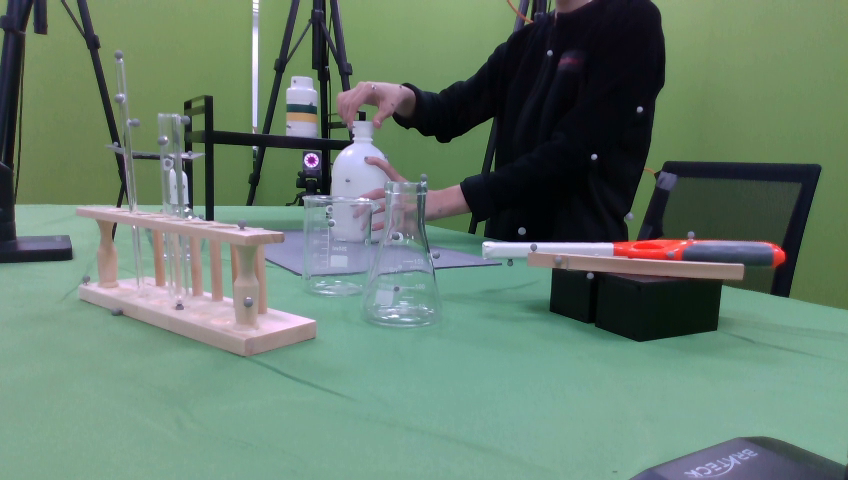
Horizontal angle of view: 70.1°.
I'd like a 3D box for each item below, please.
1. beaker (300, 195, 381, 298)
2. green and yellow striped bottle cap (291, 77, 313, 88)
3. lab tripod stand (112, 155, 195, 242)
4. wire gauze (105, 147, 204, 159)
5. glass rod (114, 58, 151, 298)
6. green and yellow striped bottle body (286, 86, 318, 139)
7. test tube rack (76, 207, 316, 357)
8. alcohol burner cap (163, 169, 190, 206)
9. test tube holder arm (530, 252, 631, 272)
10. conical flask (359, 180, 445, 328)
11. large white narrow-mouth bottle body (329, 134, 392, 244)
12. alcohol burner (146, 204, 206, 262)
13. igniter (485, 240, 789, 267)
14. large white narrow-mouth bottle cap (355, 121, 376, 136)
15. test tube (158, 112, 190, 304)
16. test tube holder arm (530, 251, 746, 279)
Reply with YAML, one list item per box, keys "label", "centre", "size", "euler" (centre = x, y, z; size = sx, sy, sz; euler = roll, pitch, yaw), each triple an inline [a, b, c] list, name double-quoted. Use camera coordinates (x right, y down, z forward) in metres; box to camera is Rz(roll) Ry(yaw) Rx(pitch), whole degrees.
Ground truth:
- label: "beaker"
  centre: [-0.087, 0.006, 0.626]
  size: [0.084, 0.100, 0.074]
  euler: [1, 8, -17]
- label: "green and yellow striped bottle cap"
  centre: [-0.250, -0.321, 1.238]
  size: [0.045, 0.020, 0.045]
  euler: [3, 6, 0]
- label: "lab tripod stand"
  centre: [-0.405, -0.064, 0.931]
  size: [0.148, 0.131, 0.148]
  euler: [1, 7, 0]
- label: "wire gauze"
  centre: [-0.407, -0.131, 0.929]
  size: [0.125, 0.011, 0.121]
  euler: [2, 6, -11]
- label: "glass rod"
  centre: [-0.236, -0.044, 0.492]
  size: [0.008, 0.199, 0.008]
  euler: [0, 15, 0]
- label: "green and yellow striped bottle body"
  centre: [-0.251, -0.270, 1.245]
  size: [0.063, 0.119, 0.063]
  euler: [2, 7, 0]
- label: "test tube rack"
  centre: [-0.196, 0.023, 0.500]
  size: [0.241, 0.085, 0.067]
  euler: [8, 9, 36]
- label: "alcohol burner cap"
  centre: [-0.320, -0.067, 0.782]
  size: [0.034, 0.048, 0.034]
  euler: [1, 7, 0]
- label: "test tube holder arm"
  centre: [0.139, 0.019, 0.538]
  size: [0.087, 0.015, 0.010]
  euler: [3, 6, 13]
- label: "conical flask"
  centre: [-0.017, 0.010, 0.522]
  size: [0.075, 0.122, 0.075]
  euler: [2, 7, 0]
- label: "large white narrow-mouth bottle body"
  centre: [-0.106, -0.095, 1.027]
  size: [0.102, 0.194, 0.102]
  euler: [4, 7, 0]
- label: "alcohol burner"
  centre: [-0.321, -0.032, 0.788]
  size: [0.078, 0.119, 0.078]
  euler: [1, 7, 0]
- label: "igniter"
  centre: [0.197, 0.012, 0.585]
  size: [0.276, 0.025, 0.057]
  euler: [1, 5, 12]
- label: "large white narrow-mouth bottle cap"
  centre: [-0.098, -0.187, 1.015]
  size: [0.038, 0.024, 0.037]
  euler: [4, 7, 0]
- label: "test tube"
  centre: [-0.194, -0.022, 0.469]
  size: [0.017, 0.150, 0.017]
  euler: [2, 12, 0]
- label: "test tube holder arm"
  centre: [0.182, 0.022, 0.524]
  size: [0.178, 0.015, 0.013]
  euler: [3, 6, 11]
